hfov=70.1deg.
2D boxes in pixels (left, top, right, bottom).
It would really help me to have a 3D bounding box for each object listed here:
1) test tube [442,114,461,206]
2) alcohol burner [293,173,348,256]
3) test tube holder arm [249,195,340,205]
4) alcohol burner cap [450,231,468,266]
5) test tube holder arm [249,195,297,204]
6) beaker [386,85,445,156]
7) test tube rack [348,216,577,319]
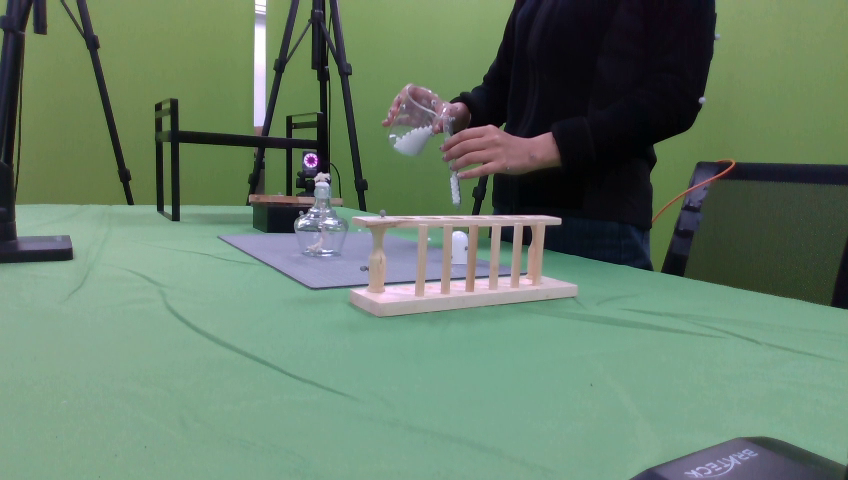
[{"bbox_3d":[0.044,-0.130,0.983,0.017,0.150,0.017,-6,-4,0],"label":"test tube"},{"bbox_3d":[-0.146,-0.036,0.859,0.078,0.119,0.078,4,8,0],"label":"alcohol burner"},{"bbox_3d":[-0.247,-0.077,1.168,0.179,0.015,0.013,0,9,-31],"label":"test tube holder arm"},{"bbox_3d":[0.046,0.011,0.838,0.034,0.048,0.034,3,6,0],"label":"alcohol burner cap"},{"bbox_3d":[-0.284,-0.076,1.141,0.088,0.015,0.010,0,9,-29],"label":"test tube holder arm"},{"bbox_3d":[-0.016,-0.200,1.033,0.083,0.100,0.074,46,39,20],"label":"beaker"},{"bbox_3d":[0.048,0.021,0.619,0.244,0.085,0.066,-2,9,-31],"label":"test tube rack"}]
